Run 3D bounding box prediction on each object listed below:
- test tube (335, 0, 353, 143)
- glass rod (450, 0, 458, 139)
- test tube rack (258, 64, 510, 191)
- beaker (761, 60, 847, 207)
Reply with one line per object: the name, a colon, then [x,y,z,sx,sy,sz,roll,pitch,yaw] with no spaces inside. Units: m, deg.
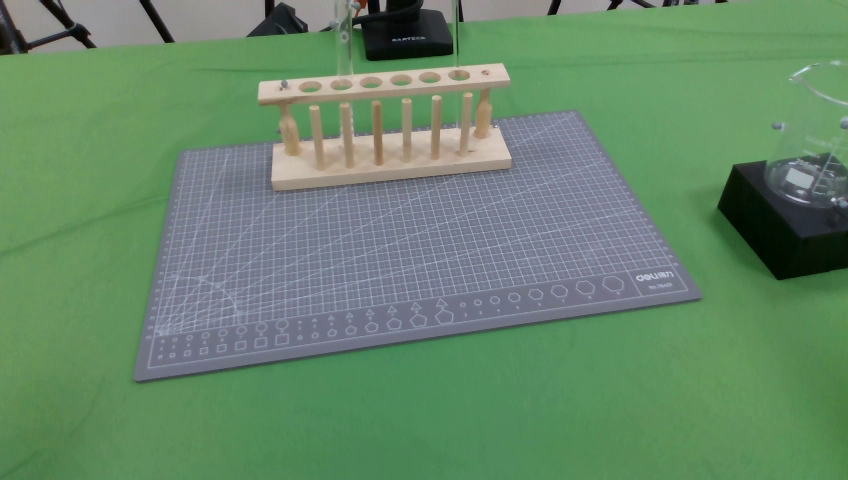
test tube: [-0.076,-0.157,0.583,0.017,0.151,0.017,3,43,-3]
glass rod: [0.029,-0.190,0.592,0.008,0.201,0.008,-2,37,2]
test tube rack: [-0.036,-0.114,0.609,0.243,0.086,0.066,-6,44,-6]
beaker: [0.326,-0.085,0.495,0.083,0.101,0.074,23,49,25]
